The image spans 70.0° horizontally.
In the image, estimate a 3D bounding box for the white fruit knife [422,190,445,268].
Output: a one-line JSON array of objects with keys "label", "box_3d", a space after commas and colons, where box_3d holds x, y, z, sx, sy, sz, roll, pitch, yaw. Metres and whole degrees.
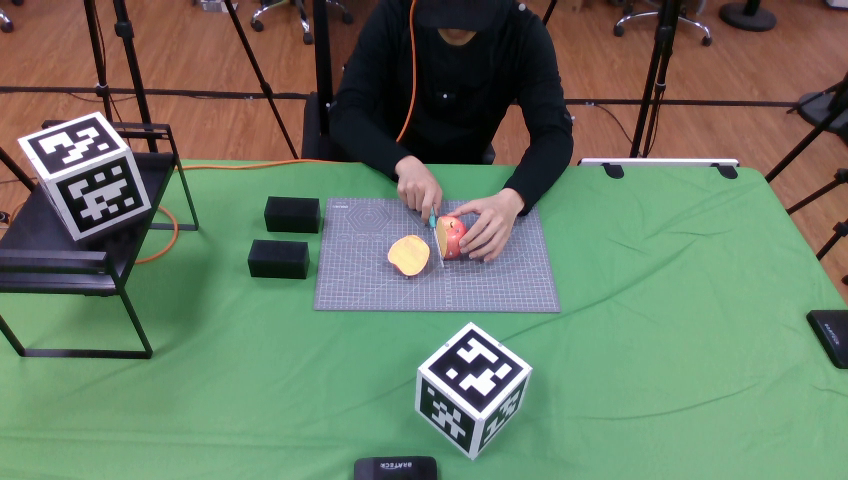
[{"label": "white fruit knife", "box_3d": [0.021, -0.027, 1.208, 0.016, 0.027, 0.206, -8, 52, -7]}]

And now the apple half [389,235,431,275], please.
[{"label": "apple half", "box_3d": [-0.023, 0.032, 1.145, 0.081, 0.033, 0.081, -2, 65, 5]}]

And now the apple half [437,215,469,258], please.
[{"label": "apple half", "box_3d": [0.058, -0.006, 1.164, 0.053, 0.075, 0.080, -5, 43, -15]}]
